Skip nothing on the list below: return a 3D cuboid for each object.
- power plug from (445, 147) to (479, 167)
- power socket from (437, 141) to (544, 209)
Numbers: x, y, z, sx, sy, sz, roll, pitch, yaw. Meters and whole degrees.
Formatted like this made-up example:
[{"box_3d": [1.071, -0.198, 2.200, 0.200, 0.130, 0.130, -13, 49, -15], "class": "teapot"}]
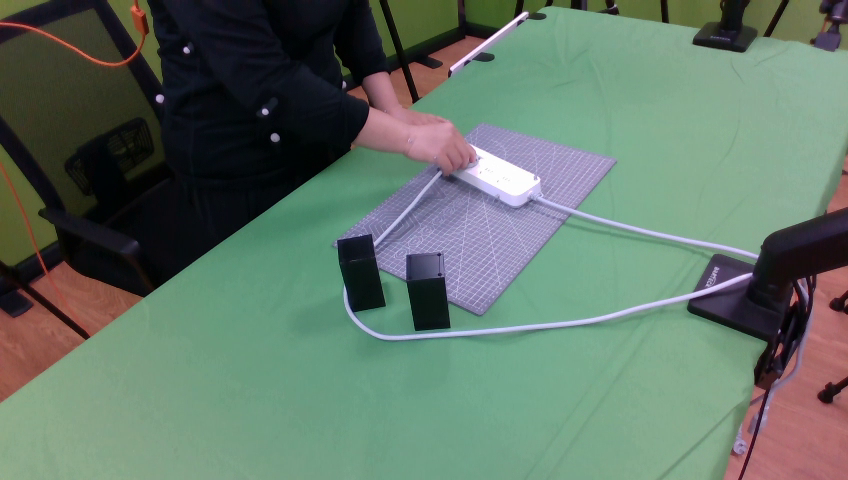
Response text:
[{"box_3d": [0.064, -0.137, 1.076, 0.073, 0.053, 0.035, -24, 44, -14], "class": "power plug"}, {"box_3d": [0.112, -0.120, 1.083, 0.072, 0.033, 0.224, -34, 47, -27], "class": "power socket"}]
